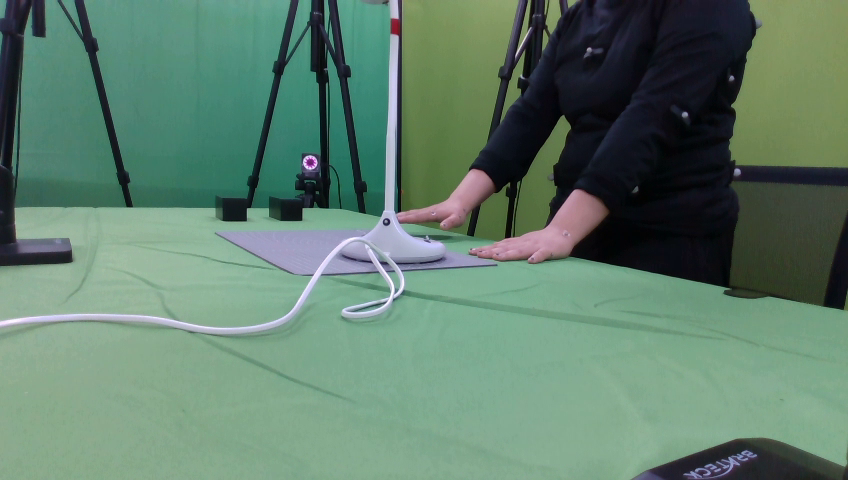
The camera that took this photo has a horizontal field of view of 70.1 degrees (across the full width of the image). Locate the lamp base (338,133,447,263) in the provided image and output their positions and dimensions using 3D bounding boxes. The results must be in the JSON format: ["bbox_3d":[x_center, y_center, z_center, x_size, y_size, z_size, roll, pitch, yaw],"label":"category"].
[{"bbox_3d":[-0.043,-0.062,0.868,0.161,0.180,0.179,2,10,-3],"label":"lamp base"}]

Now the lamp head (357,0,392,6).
[{"bbox_3d":[-0.056,-0.383,0.819,0.113,0.112,0.122,0,13,-22],"label":"lamp head"}]
